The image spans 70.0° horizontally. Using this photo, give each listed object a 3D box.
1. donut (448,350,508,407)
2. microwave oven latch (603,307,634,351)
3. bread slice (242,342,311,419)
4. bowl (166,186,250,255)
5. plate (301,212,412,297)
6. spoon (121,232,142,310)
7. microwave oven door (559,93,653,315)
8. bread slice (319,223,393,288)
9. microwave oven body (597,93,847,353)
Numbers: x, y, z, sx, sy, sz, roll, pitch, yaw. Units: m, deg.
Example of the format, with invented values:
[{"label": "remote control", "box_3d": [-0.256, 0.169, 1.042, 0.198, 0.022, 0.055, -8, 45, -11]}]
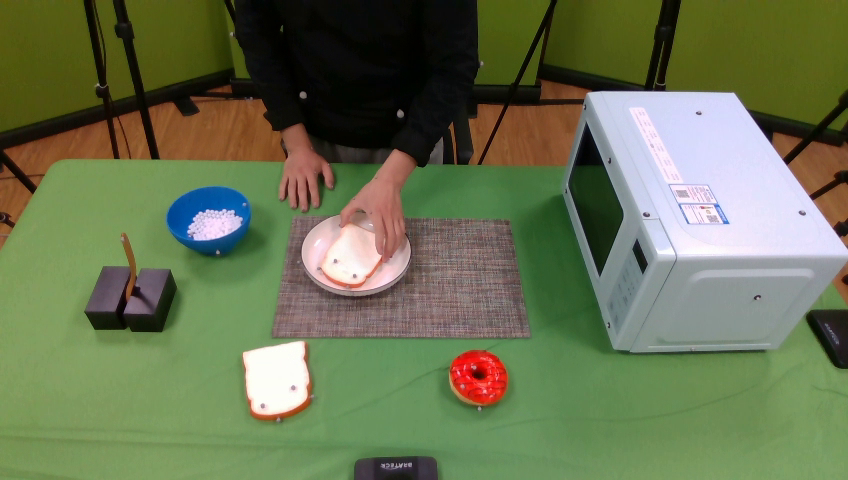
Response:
[{"label": "donut", "box_3d": [0.087, 0.223, 0.977, 0.099, 0.048, 0.098, 4, 46, -4]}, {"label": "microwave oven latch", "box_3d": [0.332, 0.153, 1.044, 0.030, 0.029, 0.078, 0, 45, -4]}, {"label": "bread slice", "box_3d": [-0.234, 0.223, 0.970, 0.105, 0.019, 0.130, -10, 46, -13]}, {"label": "bowl", "box_3d": [-0.403, -0.024, 1.154, 0.151, 0.077, 0.150, 2, 46, -2]}, {"label": "plate", "box_3d": [-0.126, 0.032, 1.146, 0.208, 0.039, 0.206, 2, 45, -2]}, {"label": "spoon", "box_3d": [-0.479, 0.051, 0.994, 0.022, 0.194, 0.041, 13, 46, -11]}, {"label": "microwave oven door", "box_3d": [0.327, -0.074, 1.123, 0.039, 0.245, 0.353, -1, 46, -5]}, {"label": "bread slice", "box_3d": [-0.131, 0.032, 1.138, 0.107, 0.018, 0.134, 17, 51, 13]}, {"label": "microwave oven body", "box_3d": [0.475, -0.041, 1.109, 0.326, 0.261, 0.438, -1, 45, -4]}]
